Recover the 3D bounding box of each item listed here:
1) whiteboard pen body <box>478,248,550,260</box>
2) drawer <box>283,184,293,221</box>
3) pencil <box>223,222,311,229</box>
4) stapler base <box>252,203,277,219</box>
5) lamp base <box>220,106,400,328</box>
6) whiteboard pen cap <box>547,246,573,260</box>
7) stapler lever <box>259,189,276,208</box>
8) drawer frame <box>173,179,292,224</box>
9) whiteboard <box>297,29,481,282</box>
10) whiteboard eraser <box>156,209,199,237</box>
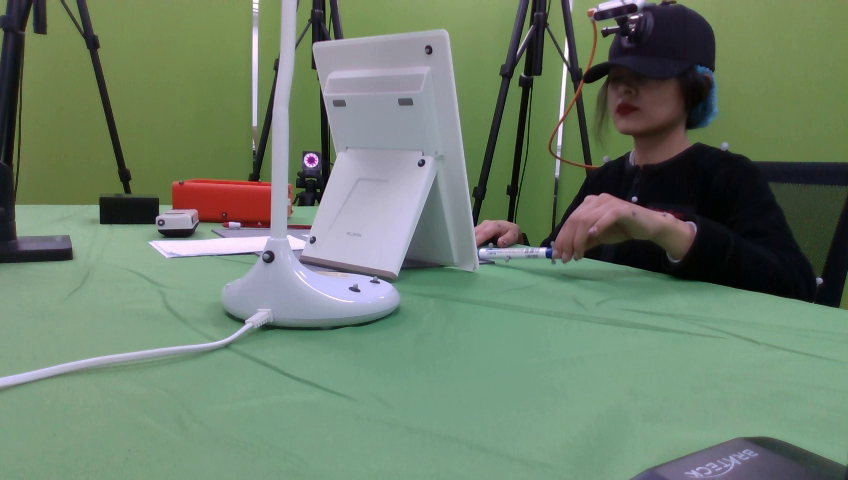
[{"bbox_3d":[0.134,0.019,0.835,0.140,0.017,0.017,-1,3,40],"label":"whiteboard pen body"},{"bbox_3d":[-0.396,-0.084,1.301,0.212,0.073,0.194,1,8,-7],"label":"drawer"},{"bbox_3d":[-0.274,-0.025,1.132,0.195,0.012,0.012,1,8,-25],"label":"pencil"},{"bbox_3d":[-0.341,-0.065,1.301,0.041,0.024,0.130,15,5,-10],"label":"stapler base"},{"bbox_3d":[-0.101,-0.023,0.531,0.160,0.180,0.179,4,10,10],"label":"lamp base"},{"bbox_3d":[0.178,0.018,0.797,0.033,0.018,0.018,-5,2,38],"label":"whiteboard pen cap"},{"bbox_3d":[-0.335,-0.090,1.300,0.027,0.040,0.118,15,4,-10],"label":"stapler lever"},{"bbox_3d":[-0.400,-0.086,1.300,0.214,0.082,0.201,1,8,-8],"label":"drawer frame"},{"bbox_3d":[-0.076,-0.082,0.741,0.216,0.305,0.144,9,29,37],"label":"whiteboard"},{"bbox_3d":[-0.411,-0.029,1.016,0.056,0.042,0.112,2,7,-16],"label":"whiteboard eraser"}]
